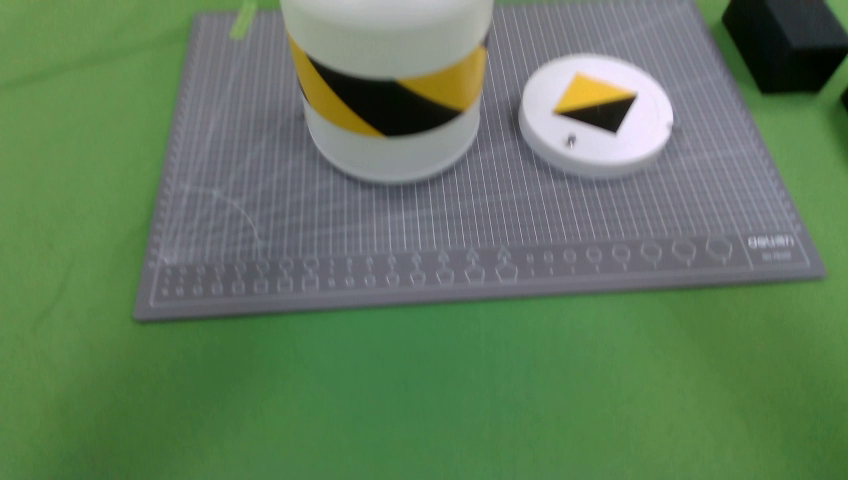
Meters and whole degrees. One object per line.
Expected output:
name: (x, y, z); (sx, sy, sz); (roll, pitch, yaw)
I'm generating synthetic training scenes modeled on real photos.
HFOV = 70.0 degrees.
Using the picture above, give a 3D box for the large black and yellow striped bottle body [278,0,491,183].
large black and yellow striped bottle body: (-0.024, -0.140, 0.386); (0.131, 0.185, 0.129); (1, 58, -1)

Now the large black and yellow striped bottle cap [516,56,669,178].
large black and yellow striped bottle cap: (0.128, -0.097, 0.464); (0.115, 0.019, 0.114); (1, 57, -1)
